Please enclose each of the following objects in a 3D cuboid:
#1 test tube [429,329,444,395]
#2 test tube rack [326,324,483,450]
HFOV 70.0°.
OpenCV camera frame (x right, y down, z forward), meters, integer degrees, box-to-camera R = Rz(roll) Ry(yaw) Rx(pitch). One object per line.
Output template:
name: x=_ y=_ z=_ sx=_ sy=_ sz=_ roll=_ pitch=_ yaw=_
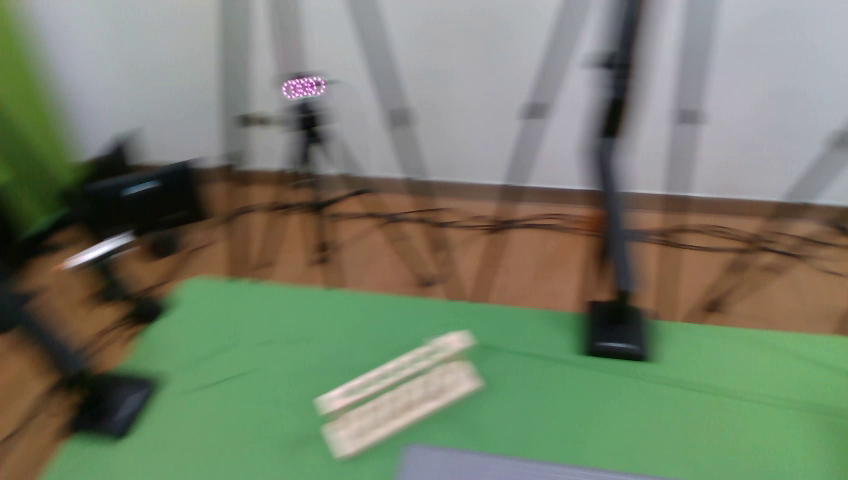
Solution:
test tube: x=0.019 y=0.191 z=0.938 sx=0.017 sy=0.151 sz=0.017 roll=-3 pitch=40 yaw=3
test tube rack: x=-0.025 y=0.231 z=0.964 sx=0.243 sy=0.086 sz=0.066 roll=-23 pitch=44 yaw=-20
